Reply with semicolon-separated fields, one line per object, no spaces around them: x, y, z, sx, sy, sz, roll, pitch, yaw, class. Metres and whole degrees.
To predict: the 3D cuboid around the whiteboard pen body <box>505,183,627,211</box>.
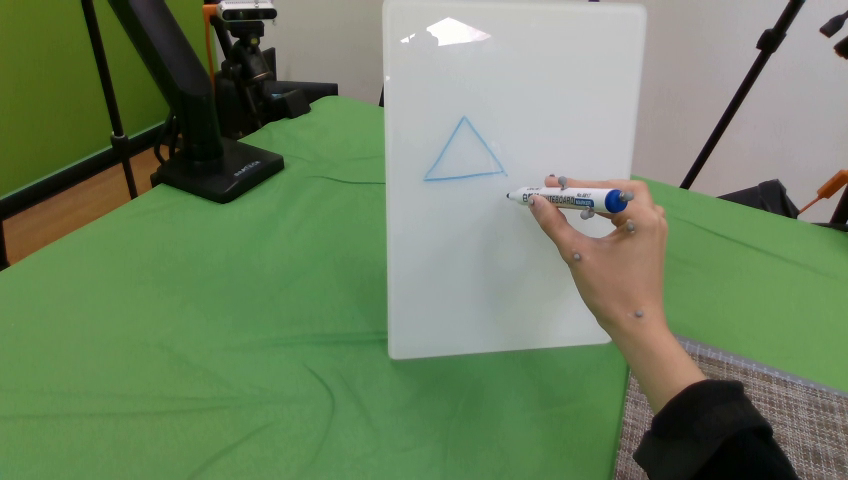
0.096;-0.033;0.444;0.017;0.017;0.140;-12;10;-21;whiteboard pen body

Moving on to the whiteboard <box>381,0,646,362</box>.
0.063;-0.062;0.575;0.218;0.307;0.143;-3;17;-10;whiteboard
